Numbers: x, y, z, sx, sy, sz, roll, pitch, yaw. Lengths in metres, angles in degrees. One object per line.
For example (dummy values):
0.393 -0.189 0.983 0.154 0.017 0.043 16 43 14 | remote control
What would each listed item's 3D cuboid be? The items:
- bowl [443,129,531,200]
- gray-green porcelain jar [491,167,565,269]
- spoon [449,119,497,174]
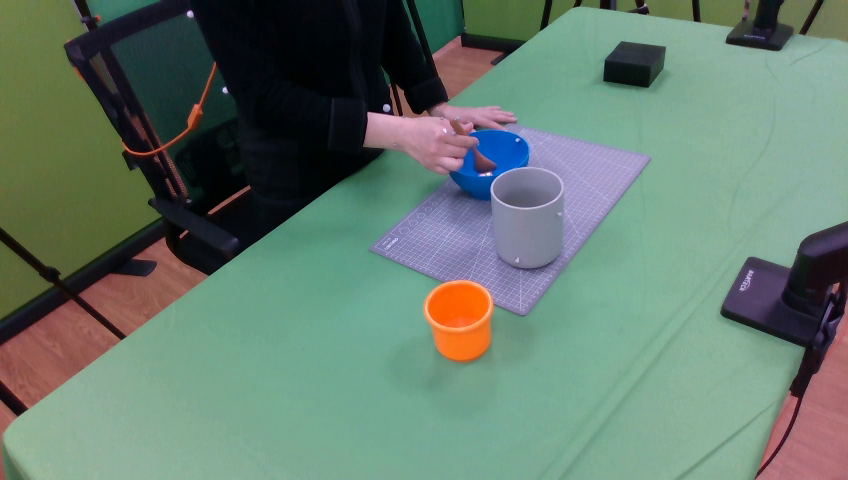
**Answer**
0.113 -0.124 1.063 0.151 0.077 0.150 -6 40 5 | bowl
0.157 -0.029 0.904 0.106 0.127 0.105 -6 40 5 | gray-green porcelain jar
0.076 -0.149 0.979 0.041 0.195 0.021 -7 66 22 | spoon
